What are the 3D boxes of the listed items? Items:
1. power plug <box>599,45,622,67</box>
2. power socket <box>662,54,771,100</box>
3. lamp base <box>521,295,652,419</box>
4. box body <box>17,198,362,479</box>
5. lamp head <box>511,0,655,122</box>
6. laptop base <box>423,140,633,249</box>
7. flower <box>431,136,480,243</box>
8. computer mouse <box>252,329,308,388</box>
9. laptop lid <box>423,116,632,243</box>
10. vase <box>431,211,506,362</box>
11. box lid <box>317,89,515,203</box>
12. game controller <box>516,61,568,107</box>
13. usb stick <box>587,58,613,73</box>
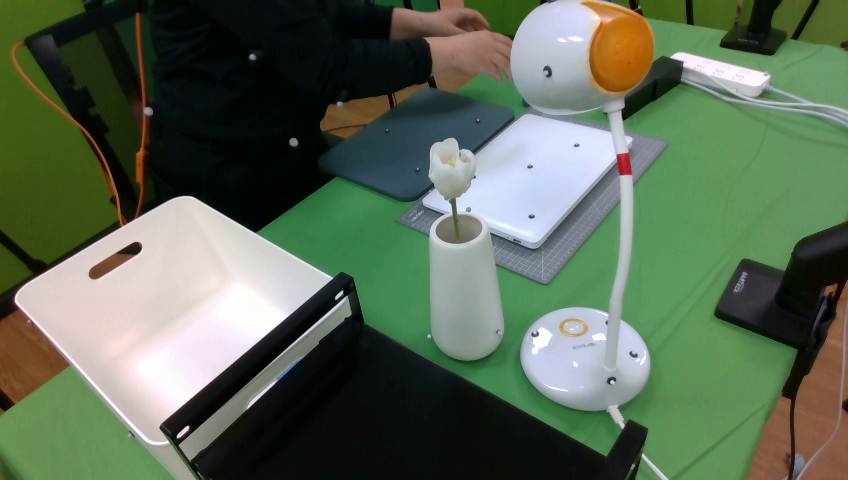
[{"bbox_3d":[0.437,-0.422,1.412,0.053,0.035,0.072,-19,74,-46],"label":"power plug"},{"bbox_3d":[0.615,-0.348,1.284,0.072,0.033,0.225,-36,48,-29],"label":"power socket"},{"bbox_3d":[0.201,0.095,0.710,0.161,0.181,0.177,-16,43,-10],"label":"lamp base"},{"bbox_3d":[-0.285,0.123,0.766,0.361,0.161,0.255,25,49,33],"label":"box body"},{"bbox_3d":[0.155,-0.168,0.563,0.113,0.113,0.122,-18,23,-12],"label":"lamp head"},{"bbox_3d":[0.194,-0.117,1.087,0.233,0.023,0.355,20,47,34],"label":"laptop base"},{"bbox_3d":[0.041,0.011,0.691,0.044,0.363,0.038,16,62,14],"label":"flower"},{"bbox_3d":[-0.168,0.161,0.790,0.116,0.041,0.063,31,50,27],"label":"computer mouse"},{"bbox_3d":[0.190,-0.126,1.081,0.239,0.013,0.358,23,48,34],"label":"laptop lid"},{"bbox_3d":[0.054,0.062,0.757,0.098,0.201,0.097,-3,40,3],"label":"vase"},{"bbox_3d":[-0.009,-0.207,1.236,0.261,0.015,0.372,23,49,32],"label":"box lid"},{"bbox_3d":[0.259,-0.352,1.336,0.097,0.052,0.154,-3,41,2],"label":"game controller"},{"bbox_3d":[0.401,-0.399,1.381,0.059,0.027,0.021,0,49,21],"label":"usb stick"}]
